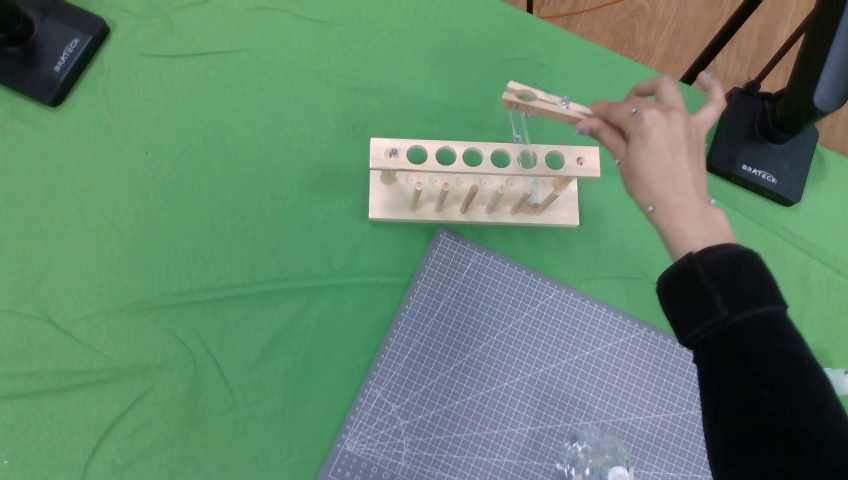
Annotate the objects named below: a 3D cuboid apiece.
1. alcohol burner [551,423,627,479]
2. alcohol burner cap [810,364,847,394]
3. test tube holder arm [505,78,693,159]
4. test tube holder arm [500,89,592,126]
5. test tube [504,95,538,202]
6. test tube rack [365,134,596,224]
[{"bbox_3d":[0.167,0.221,0.593,0.078,0.119,0.077,1,78,-5],"label":"alcohol burner"},{"bbox_3d":[0.462,0.155,0.677,0.034,0.048,0.033,1,75,-5],"label":"alcohol burner cap"},{"bbox_3d":[0.155,-0.112,0.550,0.177,0.015,0.013,23,76,15],"label":"test tube holder arm"},{"bbox_3d":[0.113,-0.123,0.560,0.087,0.015,0.010,17,74,13],"label":"test tube holder arm"},{"bbox_3d":[0.103,-0.090,0.631,0.017,0.152,0.017,-9,52,12],"label":"test tube"},{"bbox_3d":[0.057,-0.064,0.665,0.243,0.085,0.066,2,76,-5],"label":"test tube rack"}]
